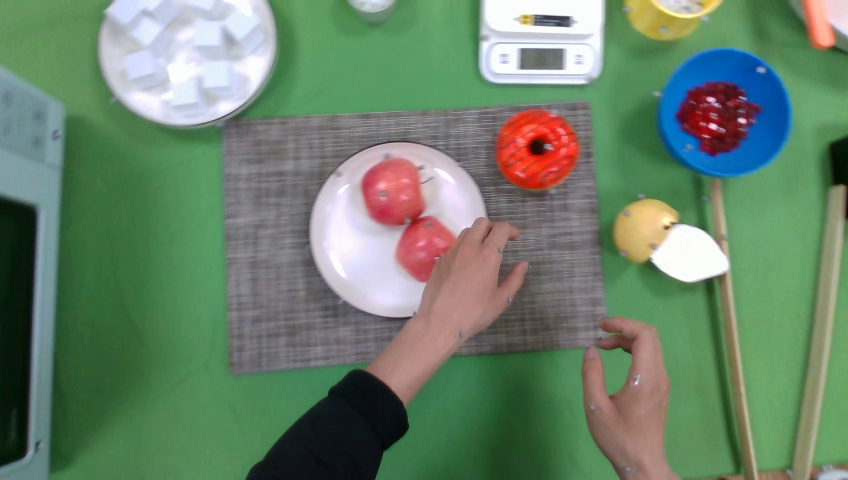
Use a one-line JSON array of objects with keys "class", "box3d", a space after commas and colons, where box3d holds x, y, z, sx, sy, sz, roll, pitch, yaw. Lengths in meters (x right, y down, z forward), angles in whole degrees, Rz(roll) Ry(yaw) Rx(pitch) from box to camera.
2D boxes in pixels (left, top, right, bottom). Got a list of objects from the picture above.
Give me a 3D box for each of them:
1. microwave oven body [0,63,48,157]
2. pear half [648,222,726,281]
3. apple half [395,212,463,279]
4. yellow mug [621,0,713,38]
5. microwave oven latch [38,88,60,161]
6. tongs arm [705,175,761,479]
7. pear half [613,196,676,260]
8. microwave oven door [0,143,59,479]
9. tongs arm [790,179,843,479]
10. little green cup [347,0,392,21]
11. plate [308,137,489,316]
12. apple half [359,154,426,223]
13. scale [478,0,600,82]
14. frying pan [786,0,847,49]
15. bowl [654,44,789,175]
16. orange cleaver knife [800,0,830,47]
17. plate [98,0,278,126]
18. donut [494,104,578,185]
[{"class": "microwave oven body", "box3d": [-0.581, 0.036, 0.580, 0.326, 0.260, 0.440, -1, 85, -2]}, {"class": "pear half", "box3d": [0.312, 0.017, 0.725, 0.087, 0.031, 0.070, 22, 82, 15]}, {"class": "apple half", "box3d": [0.005, 0.008, 0.706, 0.081, 0.033, 0.081, 0, 84, -2]}, {"class": "yellow mug", "box3d": [0.289, -0.320, 0.737, 0.100, 0.064, 0.130, -36, 86, -4]}, {"class": "microwave oven latch", "box3d": [-0.438, -0.132, 0.695, 0.030, 0.029, 0.079, 1, 86, -2]}, {"class": "tongs arm", "box3d": [0.380, 0.113, 0.718, 0.051, 0.026, 0.384, -3, 86, -8]}, {"class": "pear half", "box3d": [0.250, -0.020, 0.689, 0.056, 0.110, 0.076, 28, 81, 3]}, {"class": "microwave oven door", "box3d": [-0.435, 0.077, 0.575, 0.039, 0.244, 0.355, -1, 85, -2]}, {"class": "tongs arm", "box3d": [0.467, 0.115, 0.727, 0.028, 0.027, 0.386, 12, 85, -10]}, {"class": "little green cup", "box3d": [-0.066, -0.301, 0.740, 0.061, 0.038, 0.061, 0, 84, -1]}, {"class": "plate", "box3d": [-0.028, -0.015, 0.712, 0.209, 0.038, 0.208, 0, 85, -2]}, {"class": "apple half", "box3d": [-0.038, -0.061, 0.698, 0.075, 0.053, 0.080, -10, 88, 0]}, {"class": "scale", "box3d": [0.142, -0.297, 0.748, 0.149, 0.031, 0.200, 1, 85, -1]}, {"class": "frying pan", "box3d": [0.618, -0.274, 0.724, 0.307, 0.103, 0.485, -30, 78, -3]}, {"class": "bowl", "box3d": [0.336, -0.144, 0.718, 0.151, 0.077, 0.151, 0, 86, -1]}, {"class": "orange cleaver knife", "box3d": [0.450, -0.330, 0.704, 0.077, 0.012, 0.211, -13, 86, -6]}, {"class": "plate", "box3d": [-0.277, -0.235, 0.728, 0.208, 0.039, 0.207, 0, 85, -2]}, {"class": "donut", "box3d": [0.132, -0.113, 0.722, 0.099, 0.048, 0.099, 0, 86, 1]}]
